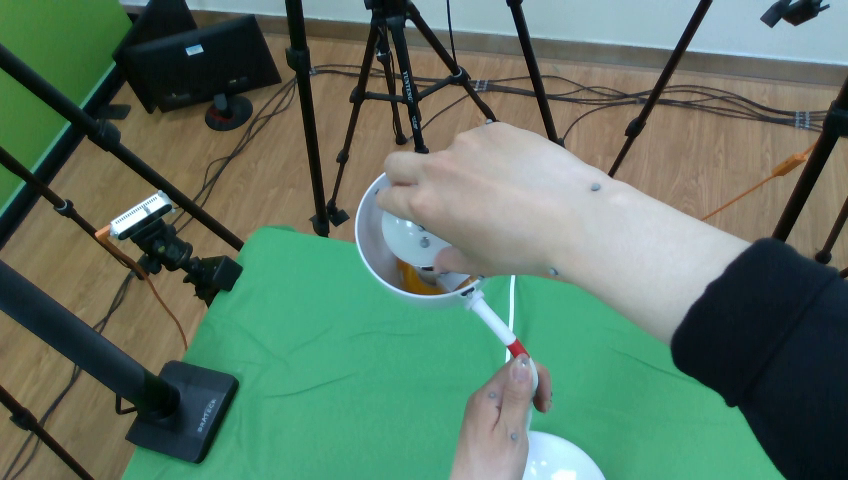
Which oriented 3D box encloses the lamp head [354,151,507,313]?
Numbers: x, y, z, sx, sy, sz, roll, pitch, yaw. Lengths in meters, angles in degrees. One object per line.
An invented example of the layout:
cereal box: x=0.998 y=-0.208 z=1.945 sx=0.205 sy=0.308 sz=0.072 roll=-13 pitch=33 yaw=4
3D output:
lamp head: x=0.011 y=0.007 z=0.484 sx=0.112 sy=0.124 sz=0.111 roll=-3 pitch=66 yaw=7

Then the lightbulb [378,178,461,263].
lightbulb: x=-0.001 y=-0.007 z=0.456 sx=0.059 sy=0.108 sz=0.059 roll=-1 pitch=70 yaw=4

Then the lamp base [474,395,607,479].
lamp base: x=0.121 y=0.248 z=0.647 sx=0.161 sy=0.182 sz=0.177 roll=-24 pitch=55 yaw=-7
